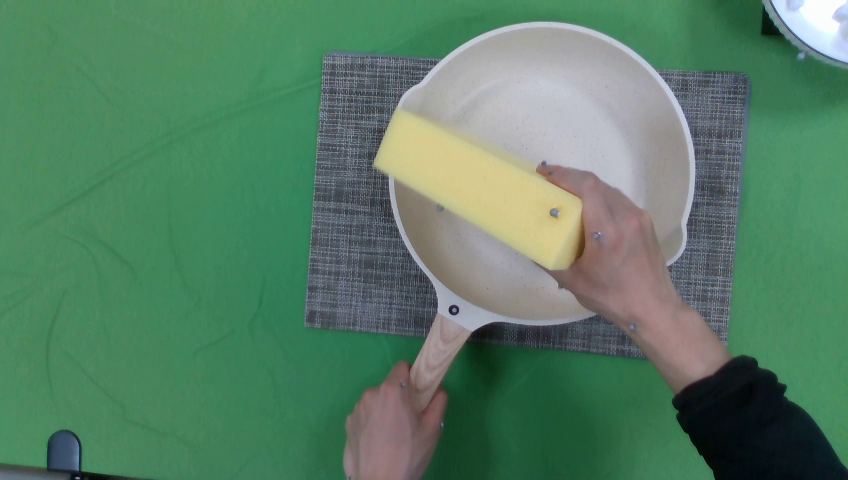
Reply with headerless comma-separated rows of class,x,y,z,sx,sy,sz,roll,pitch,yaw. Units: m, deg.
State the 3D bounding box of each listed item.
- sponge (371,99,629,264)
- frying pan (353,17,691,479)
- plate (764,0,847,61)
sponge,0.066,-0.055,0.551,0.205,0.119,0.061,34,109,32
frying pan,0.057,0.021,0.602,0.306,0.103,0.487,30,85,5
plate,0.407,-0.263,0.556,0.207,0.039,0.207,0,91,4
